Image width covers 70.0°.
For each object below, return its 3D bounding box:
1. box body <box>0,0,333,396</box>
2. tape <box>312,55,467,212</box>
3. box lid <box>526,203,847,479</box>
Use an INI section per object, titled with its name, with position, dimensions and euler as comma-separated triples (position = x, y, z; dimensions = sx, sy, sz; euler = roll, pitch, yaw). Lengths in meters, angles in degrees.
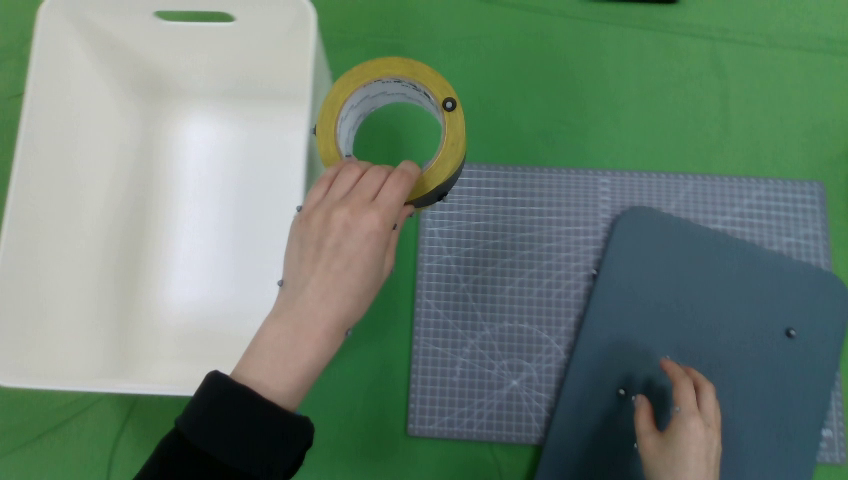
[box body]
position = -0.227, -0.038, 0.595
dimensions = 0.254, 0.161, 0.362
euler = 2, 78, 0
[tape]
position = -0.023, -0.078, 0.464
dimensions = 0.117, 0.053, 0.116
euler = 0, 86, 5
[box lid]
position = 0.274, 0.161, 0.626
dimensions = 0.263, 0.015, 0.370
euler = 20, 79, 4
